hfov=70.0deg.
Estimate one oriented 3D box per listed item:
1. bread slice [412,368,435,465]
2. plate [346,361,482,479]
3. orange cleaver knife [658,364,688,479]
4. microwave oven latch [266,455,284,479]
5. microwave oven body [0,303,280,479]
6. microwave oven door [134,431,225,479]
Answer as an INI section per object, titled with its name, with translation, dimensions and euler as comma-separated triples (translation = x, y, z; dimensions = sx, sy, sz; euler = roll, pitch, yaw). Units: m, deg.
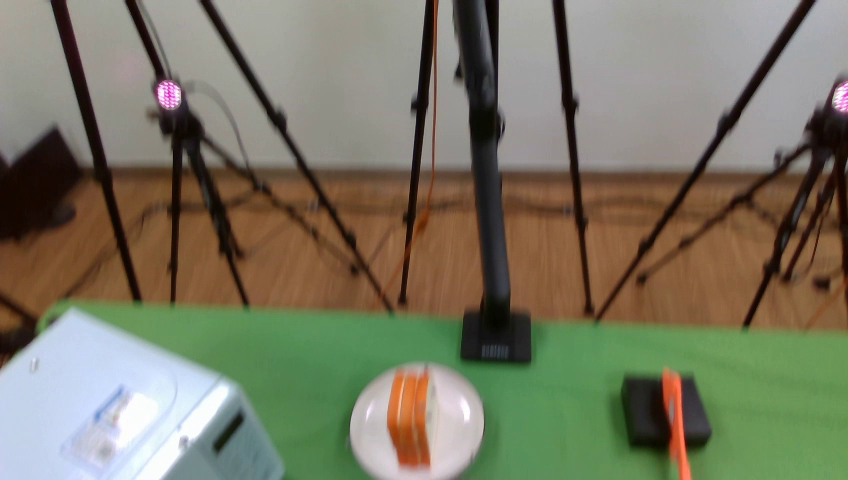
[bread slice]
translation = 0.001, 0.251, 0.878
dimensions = 0.018, 0.135, 0.106
euler = -1, 49, 7
[plate]
translation = -0.014, 0.282, 0.927
dimensions = 0.207, 0.039, 0.205
euler = -2, 45, 3
[orange cleaver knife]
translation = 0.352, 0.281, 0.857
dimensions = 0.012, 0.077, 0.210
euler = -2, 75, 3
[microwave oven latch]
translation = -0.232, 0.342, 0.863
dimensions = 0.030, 0.030, 0.079
euler = 18, 51, 21
[microwave oven body]
translation = -0.451, 0.349, 0.740
dimensions = 0.324, 0.263, 0.439
euler = 18, 50, 21
[microwave oven door]
translation = -0.341, 0.413, 0.659
dimensions = 0.039, 0.246, 0.354
euler = 17, 50, 22
